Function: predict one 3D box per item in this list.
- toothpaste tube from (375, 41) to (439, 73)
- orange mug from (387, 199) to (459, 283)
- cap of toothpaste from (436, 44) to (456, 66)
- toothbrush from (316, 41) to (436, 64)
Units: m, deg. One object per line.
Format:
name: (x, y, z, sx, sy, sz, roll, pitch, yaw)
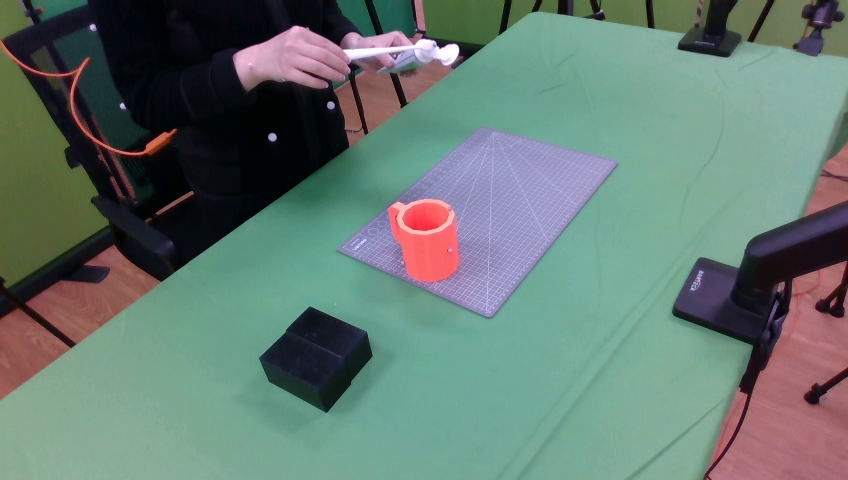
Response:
toothpaste tube: (-0.024, -0.294, 0.992, 0.055, 0.034, 0.164, -7, 6, -28)
orange mug: (-0.006, -0.007, 0.923, 0.125, 0.101, 0.084, 32, 54, 32)
cap of toothpaste: (0.034, -0.284, 0.924, 0.037, 0.011, 0.037, -16, 64, 38)
toothbrush: (-0.068, -0.273, 0.882, 0.183, 0.014, 0.016, -13, 18, -19)
